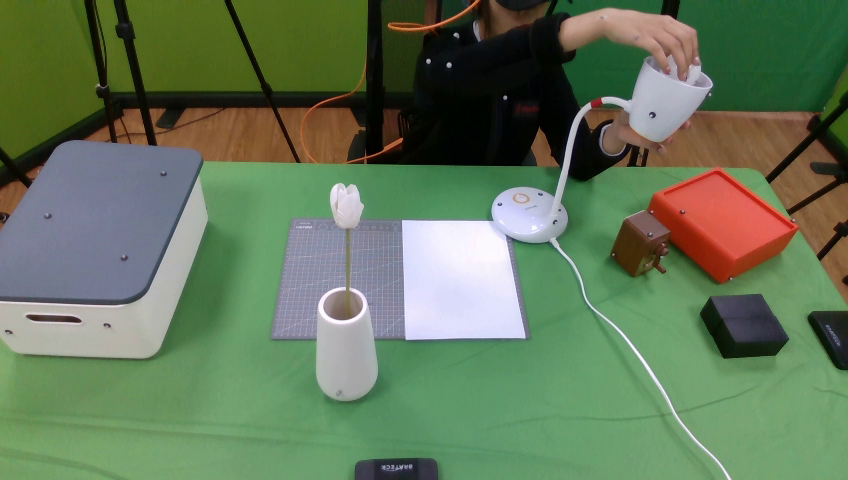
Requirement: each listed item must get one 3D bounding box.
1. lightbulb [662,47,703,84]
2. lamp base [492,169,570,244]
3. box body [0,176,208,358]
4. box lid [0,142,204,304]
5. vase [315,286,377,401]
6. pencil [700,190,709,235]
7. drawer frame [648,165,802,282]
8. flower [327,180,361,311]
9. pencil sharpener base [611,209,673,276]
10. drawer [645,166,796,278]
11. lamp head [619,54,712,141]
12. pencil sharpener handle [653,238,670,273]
[{"bbox_3d":[0.407,-0.255,0.965,0.059,0.108,0.059,-5,49,6],"label":"lightbulb"},{"bbox_3d":[0.234,-0.101,1.199,0.161,0.181,0.178,-24,56,-25],"label":"lamp base"},{"bbox_3d":[-0.546,0.017,1.045,0.254,0.161,0.361,2,46,-2],"label":"box body"},{"bbox_3d":[-0.534,-0.044,0.995,0.263,0.015,0.369,3,45,-3],"label":"box lid"},{"bbox_3d":[-0.119,0.159,0.911,0.098,0.201,0.097,2,47,-2],"label":"vase"},{"bbox_3d":[0.583,-0.058,1.257,0.012,0.012,0.193,16,35,12],"label":"pencil"},{"bbox_3d":[0.603,-0.040,1.234,0.202,0.083,0.212,-21,51,-23],"label":"drawer frame"},{"bbox_3d":[-0.110,0.086,0.867,0.044,0.363,0.038,22,34,35],"label":"flower"},{"bbox_3d":[0.416,0.007,1.158,0.061,0.107,0.076,-21,51,-22],"label":"pencil sharpener base"},{"bbox_3d":[0.600,-0.041,1.236,0.195,0.073,0.210,-21,51,-23],"label":"drawer"},{"bbox_3d":[0.378,-0.225,0.977,0.112,0.123,0.111,14,40,-12],"label":"lamp head"},{"bbox_3d":[0.444,0.030,1.120,0.036,0.068,0.030,-25,52,-18],"label":"pencil sharpener handle"}]
